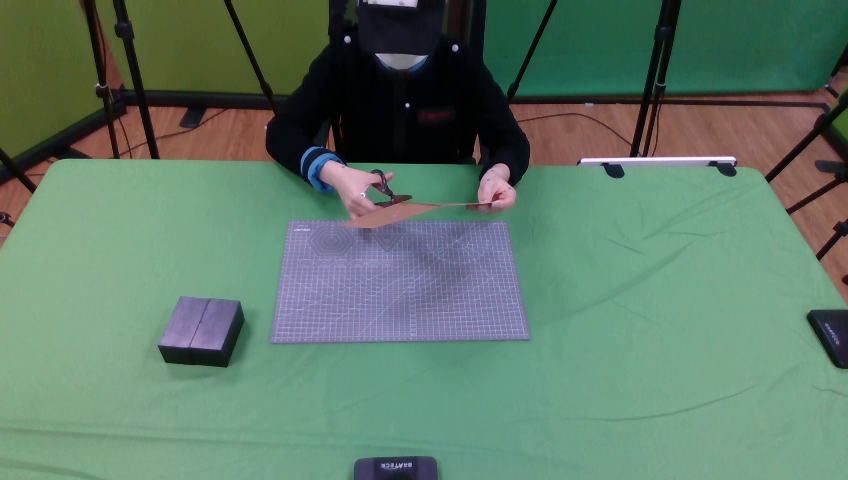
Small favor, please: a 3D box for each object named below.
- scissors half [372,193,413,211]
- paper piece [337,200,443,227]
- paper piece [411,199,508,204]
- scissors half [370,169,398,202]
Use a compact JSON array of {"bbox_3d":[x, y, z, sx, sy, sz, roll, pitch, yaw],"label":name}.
[{"bbox_3d":[-0.059,-0.066,1.128,0.013,0.175,0.040,-9,85,-28],"label":"scissors half"},{"bbox_3d":[-0.058,-0.045,1.001,0.136,0.004,0.135,-21,15,-29],"label":"paper piece"},{"bbox_3d":[0.053,-0.067,1.071,0.138,0.008,0.135,-1,8,-33],"label":"paper piece"},{"bbox_3d":[-0.060,-0.090,1.122,0.013,0.040,0.174,-13,37,-26],"label":"scissors half"}]
